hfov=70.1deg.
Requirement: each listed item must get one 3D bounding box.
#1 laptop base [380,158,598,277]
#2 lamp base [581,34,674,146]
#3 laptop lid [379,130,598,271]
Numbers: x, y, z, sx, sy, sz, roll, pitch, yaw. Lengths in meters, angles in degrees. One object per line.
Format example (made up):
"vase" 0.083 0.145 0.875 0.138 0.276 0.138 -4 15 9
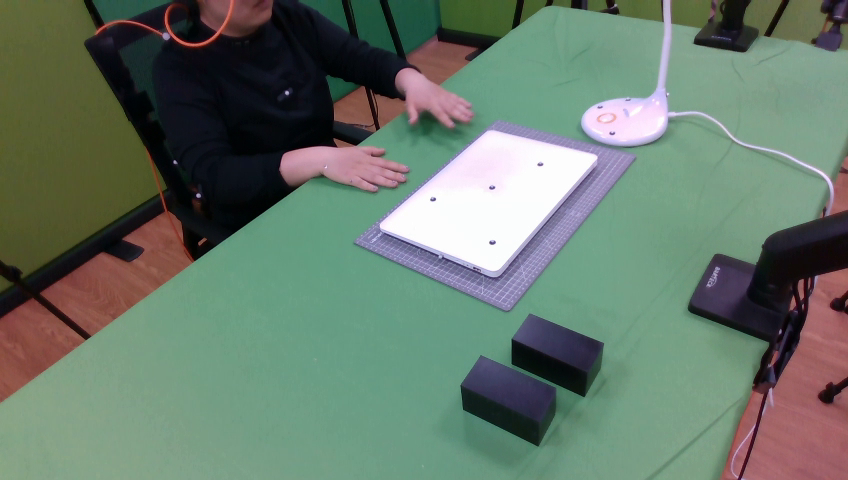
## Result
"laptop base" 0.120 -0.077 1.043 0.233 0.023 0.355 20 47 32
"lamp base" 0.392 -0.291 1.129 0.180 0.181 0.159 -11 41 -8
"laptop lid" 0.117 -0.087 1.037 0.240 0.013 0.358 22 48 33
